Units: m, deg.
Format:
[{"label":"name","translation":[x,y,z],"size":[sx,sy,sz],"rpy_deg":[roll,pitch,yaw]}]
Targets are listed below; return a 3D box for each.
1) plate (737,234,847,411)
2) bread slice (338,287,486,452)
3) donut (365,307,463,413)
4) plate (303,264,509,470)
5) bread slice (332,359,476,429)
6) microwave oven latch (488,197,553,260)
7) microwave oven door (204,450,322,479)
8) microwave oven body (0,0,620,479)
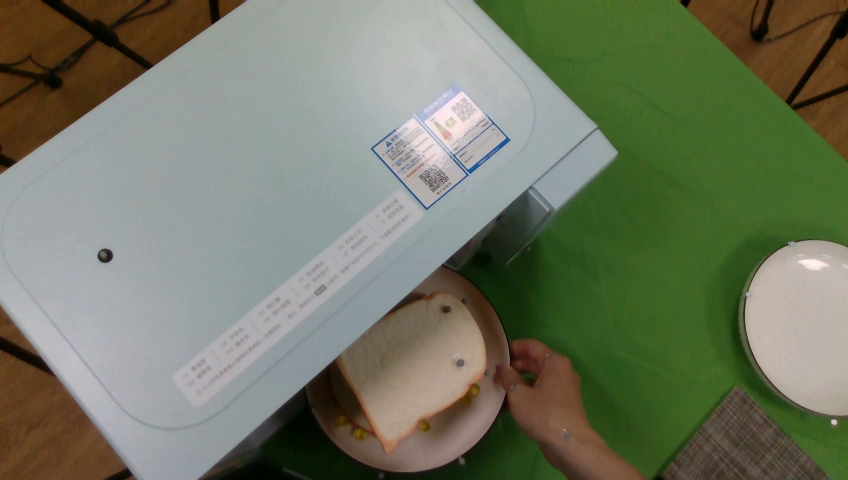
[{"label":"plate","translation":[0.469,0.097,0.722],"size":[0.208,0.039,0.206],"rpy_deg":[1,77,-4]},{"label":"bread slice","translation":[-0.008,0.105,0.549],"size":[0.134,0.018,0.107],"rpy_deg":[-33,95,-24]},{"label":"donut","translation":[-0.009,0.114,0.580],"size":[0.099,0.048,0.098],"rpy_deg":[4,77,-18]},{"label":"plate","translation":[-0.019,0.118,0.608],"size":[0.209,0.038,0.208],"rpy_deg":[2,78,-9]},{"label":"bread slice","translation":[-0.023,0.128,0.603],"size":[0.132,0.019,0.104],"rpy_deg":[-23,85,-14]},{"label":"microwave oven latch","translation":[0.112,-0.012,0.698],"size":[0.079,0.029,0.030],"rpy_deg":[-37,83,-11]},{"label":"microwave oven door","translation":[-0.017,0.276,0.518],"size":[0.356,0.244,0.039],"rpy_deg":[22,76,1]},{"label":"microwave oven body","translation":[-0.112,-0.029,0.585],"size":[0.441,0.261,0.325],"rpy_deg":[-41,83,-11]}]
